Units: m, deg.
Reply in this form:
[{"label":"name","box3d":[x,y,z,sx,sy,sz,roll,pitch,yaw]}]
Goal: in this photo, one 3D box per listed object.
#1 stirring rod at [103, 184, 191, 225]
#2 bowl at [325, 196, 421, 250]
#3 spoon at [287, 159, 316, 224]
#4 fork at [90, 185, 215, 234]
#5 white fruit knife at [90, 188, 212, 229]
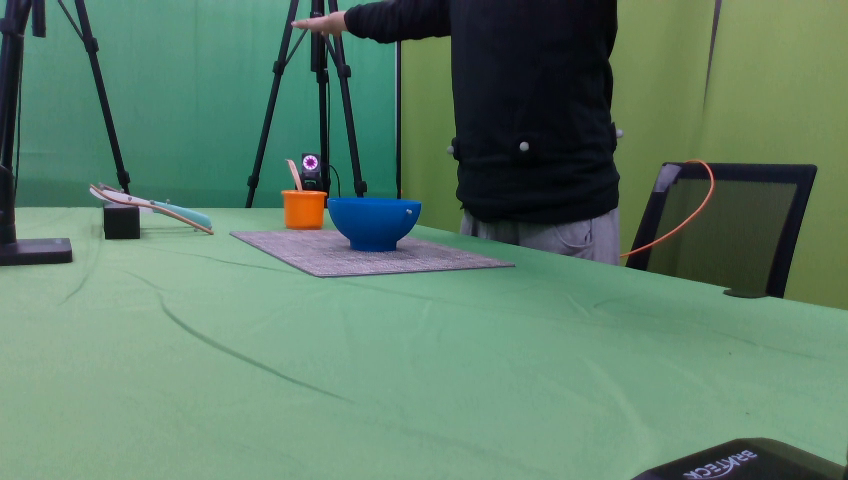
[{"label":"stirring rod","box3d":[-0.507,-0.063,1.129,0.177,0.006,0.014,27,1,-31]},{"label":"bowl","box3d":[-0.081,-0.027,0.957,0.151,0.077,0.151,2,7,0]},{"label":"spoon","box3d":[-0.261,-0.104,1.263,0.042,0.193,0.021,-1,-37,-28]},{"label":"fork","box3d":[-0.452,-0.049,1.018,0.208,0.018,0.028,21,-7,-33]},{"label":"white fruit knife","box3d":[-0.478,-0.058,1.073,0.208,0.027,0.016,17,-4,-30]}]
